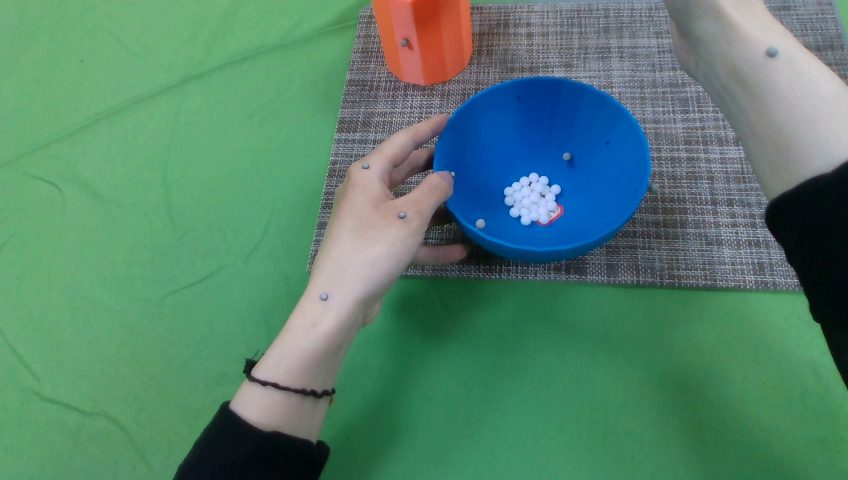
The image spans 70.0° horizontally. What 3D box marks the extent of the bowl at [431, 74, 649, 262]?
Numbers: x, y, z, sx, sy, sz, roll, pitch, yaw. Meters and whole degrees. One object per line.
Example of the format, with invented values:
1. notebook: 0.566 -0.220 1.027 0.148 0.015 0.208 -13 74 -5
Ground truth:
1. bowl: 0.083 -0.041 0.454 0.151 0.077 0.150 -3 62 5

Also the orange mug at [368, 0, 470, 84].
1. orange mug: 0.000 -0.222 0.550 0.083 0.101 0.125 12 69 14
